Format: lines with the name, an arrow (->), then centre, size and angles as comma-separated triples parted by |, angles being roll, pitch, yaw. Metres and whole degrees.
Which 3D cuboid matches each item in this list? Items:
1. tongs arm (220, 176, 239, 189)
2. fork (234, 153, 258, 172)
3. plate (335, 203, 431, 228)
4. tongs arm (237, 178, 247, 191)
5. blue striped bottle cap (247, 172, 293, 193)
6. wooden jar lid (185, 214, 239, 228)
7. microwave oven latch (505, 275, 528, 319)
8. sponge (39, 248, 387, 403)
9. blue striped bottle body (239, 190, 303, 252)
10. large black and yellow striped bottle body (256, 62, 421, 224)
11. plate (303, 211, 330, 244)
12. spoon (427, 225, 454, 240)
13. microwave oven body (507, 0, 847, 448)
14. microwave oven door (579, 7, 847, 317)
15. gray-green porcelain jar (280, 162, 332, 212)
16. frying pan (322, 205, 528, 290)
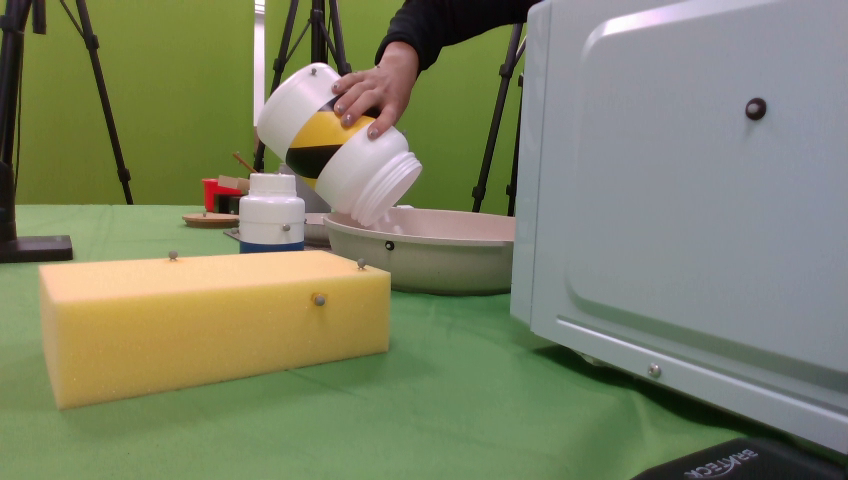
tongs arm -> -0.285, -0.105, 1.445 | 0.389, 0.027, 0.028 | 9, -3, -23
fork -> -0.396, -0.143, 1.486 | 0.028, 0.018, 0.208 | 19, -26, 45
plate -> -0.089, -0.053, 1.309 | 0.208, 0.039, 0.207 | 2, 8, 0
tongs arm -> -0.241, -0.095, 1.374 | 0.387, 0.026, 0.050 | 9, 0, -37
blue striped bottle cap -> -0.152, -0.057, 0.598 | 0.044, 0.020, 0.044 | 3, 7, 0
wooden jar lid -> -0.404, -0.037, 1.169 | 0.108, 0.020, 0.108 | 3, 7, 0
microwave oven latch -> 0.100, 0.042, 0.471 | 0.079, 0.029, 0.030 | -1, 7, -29
sponge -> -0.142, 0.047, 0.420 | 0.208, 0.061, 0.117 | -3, 8, -36
blue striped bottle body -> -0.153, -0.007, 0.605 | 0.063, 0.120, 0.063 | 2, 7, 0
large black and yellow striped bottle body -> -0.105, -0.120, 0.774 | 0.184, 0.130, 0.131 | 43, 13, 3
plate -> -0.139, -0.022, 1.021 | 0.209, 0.038, 0.209 | 2, 8, 0
spoon -> 0.024, -0.019, 1.124 | 0.042, 0.021, 0.193 | -16, 9, -4
microwave oven body -> 0.331, -0.042, 0.425 | 0.444, 0.260, 0.324 | -2, 8, -31
microwave oven door -> 0.294, -0.067, 0.570 | 0.358, 0.243, 0.039 | -3, 9, -31
gray-green porcelain jar -> -0.238, -0.092, 1.221 | 0.106, 0.126, 0.106 | 2, 7, 0
frying pan -> 0.109, -0.017, 0.800 | 0.490, 0.102, 0.305 | -12, 16, -30
